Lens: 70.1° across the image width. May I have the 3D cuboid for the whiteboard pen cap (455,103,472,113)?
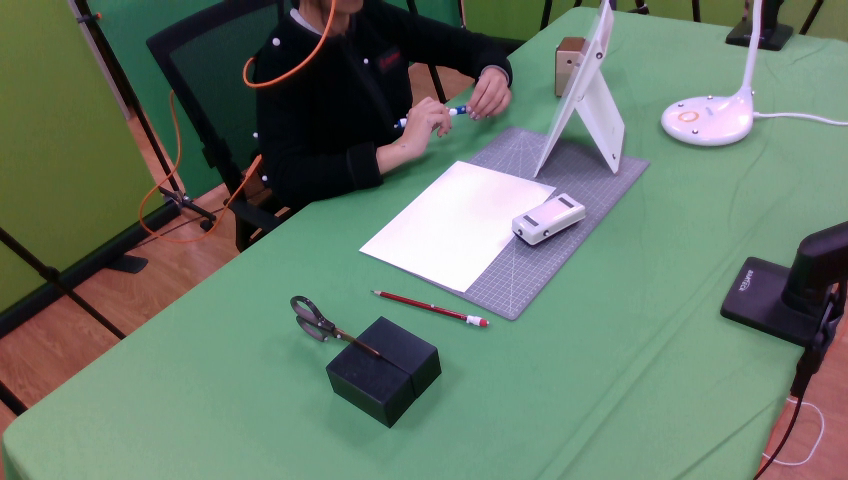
[{"bbox_3d":[0.077,-0.260,1.193,0.033,0.018,0.018,-12,40,-9],"label":"whiteboard pen cap"}]

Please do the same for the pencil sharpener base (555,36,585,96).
[{"bbox_3d":[0.317,-0.371,1.290,0.061,0.107,0.076,10,44,22],"label":"pencil sharpener base"}]

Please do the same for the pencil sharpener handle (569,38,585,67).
[{"bbox_3d":[0.332,-0.413,1.318,0.036,0.068,0.030,19,47,13],"label":"pencil sharpener handle"}]

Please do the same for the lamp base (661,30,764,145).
[{"bbox_3d":[0.535,-0.287,1.096,0.179,0.181,0.159,-10,40,-4],"label":"lamp base"}]

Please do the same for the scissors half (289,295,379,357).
[{"bbox_3d":[-0.122,0.114,0.803,0.174,0.040,0.013,26,50,32],"label":"scissors half"}]

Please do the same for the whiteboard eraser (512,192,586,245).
[{"bbox_3d":[0.199,-0.032,0.962,0.113,0.042,0.055,-27,42,-20],"label":"whiteboard eraser"}]

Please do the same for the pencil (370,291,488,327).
[{"bbox_3d":[0.003,0.097,0.877,0.193,0.012,0.012,13,45,26],"label":"pencil"}]

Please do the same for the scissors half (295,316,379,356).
[{"bbox_3d":[-0.119,0.131,0.813,0.174,0.040,0.013,9,34,45],"label":"scissors half"}]

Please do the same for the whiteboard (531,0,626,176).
[{"bbox_3d":[0.321,-0.258,1.050,0.144,0.306,0.217,22,45,5],"label":"whiteboard"}]

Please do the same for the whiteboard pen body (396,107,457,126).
[{"bbox_3d":[0.014,-0.245,1.184,0.141,0.017,0.017,-14,41,-9],"label":"whiteboard pen body"}]
